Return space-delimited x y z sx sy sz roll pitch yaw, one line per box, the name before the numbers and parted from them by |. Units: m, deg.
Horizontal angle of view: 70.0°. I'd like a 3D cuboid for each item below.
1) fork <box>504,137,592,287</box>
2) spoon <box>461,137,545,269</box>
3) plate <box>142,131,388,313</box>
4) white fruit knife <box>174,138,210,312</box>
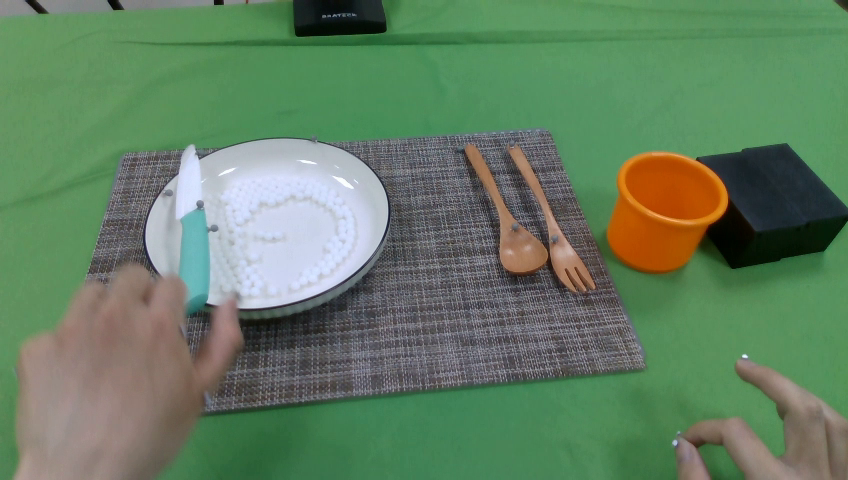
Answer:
fork | 0.111 -0.034 0.576 0.028 0.019 0.205 -12 52 -5
spoon | 0.068 -0.042 0.578 0.041 0.022 0.191 -21 51 3
plate | -0.134 -0.018 0.537 0.209 0.038 0.207 1 49 -1
white fruit knife | -0.197 -0.024 0.511 0.027 0.016 0.205 -13 50 -8
